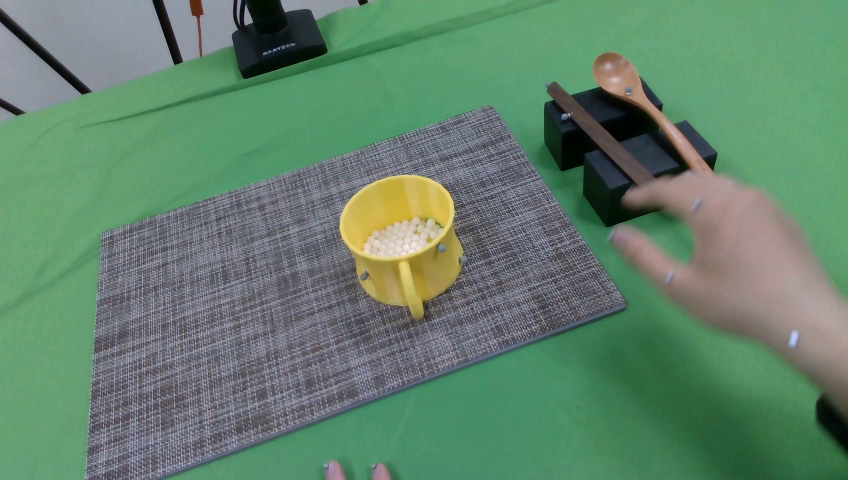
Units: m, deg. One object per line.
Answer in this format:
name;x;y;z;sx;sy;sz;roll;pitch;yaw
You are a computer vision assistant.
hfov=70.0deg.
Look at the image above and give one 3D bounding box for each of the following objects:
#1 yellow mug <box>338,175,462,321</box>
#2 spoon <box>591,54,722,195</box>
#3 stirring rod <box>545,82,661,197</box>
yellow mug;-0.017;0.011;0.524;0.100;0.064;0.129;-13;49;1
spoon;0.208;-0.110;0.550;0.041;0.022;0.191;-19;51;-6
stirring rod;0.158;-0.097;0.553;0.014;0.006;0.174;-48;46;21
